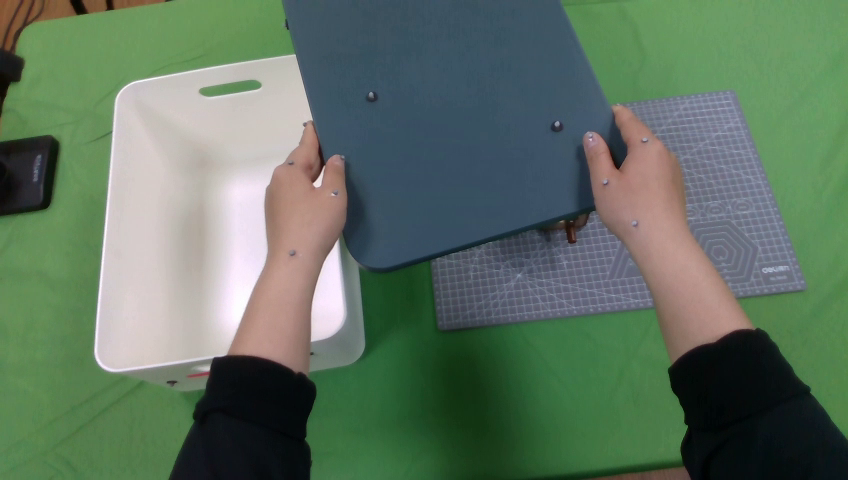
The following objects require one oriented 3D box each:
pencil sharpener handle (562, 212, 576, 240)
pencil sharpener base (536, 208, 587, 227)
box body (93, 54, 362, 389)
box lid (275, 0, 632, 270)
[{"bbox_3d":[0.173,-0.026,0.719,0.036,0.068,0.030,-8,67,7],"label":"pencil sharpener handle"},{"bbox_3d":[0.169,-0.068,0.750,0.061,0.108,0.076,-6,67,2],"label":"pencil sharpener base"},{"bbox_3d":[-0.220,-0.018,0.733,0.254,0.161,0.361,-9,66,0],"label":"box body"},{"bbox_3d":[0.011,-0.169,0.576,0.263,0.015,0.368,-17,69,-4],"label":"box lid"}]
